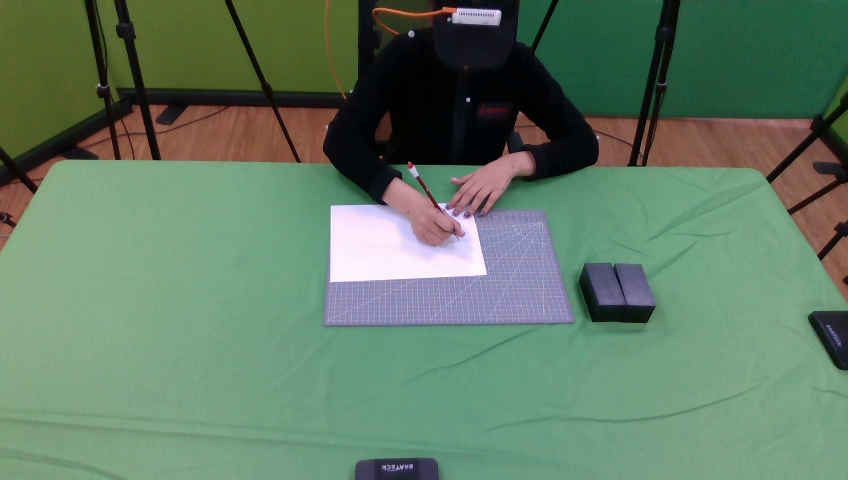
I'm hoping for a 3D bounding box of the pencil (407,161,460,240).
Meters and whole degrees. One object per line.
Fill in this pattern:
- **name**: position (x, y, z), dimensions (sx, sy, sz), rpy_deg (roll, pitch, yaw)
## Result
- **pencil**: position (0.020, -0.072, 1.170), dimensions (0.012, 0.195, 0.012), rpy_deg (-28, 27, 15)
